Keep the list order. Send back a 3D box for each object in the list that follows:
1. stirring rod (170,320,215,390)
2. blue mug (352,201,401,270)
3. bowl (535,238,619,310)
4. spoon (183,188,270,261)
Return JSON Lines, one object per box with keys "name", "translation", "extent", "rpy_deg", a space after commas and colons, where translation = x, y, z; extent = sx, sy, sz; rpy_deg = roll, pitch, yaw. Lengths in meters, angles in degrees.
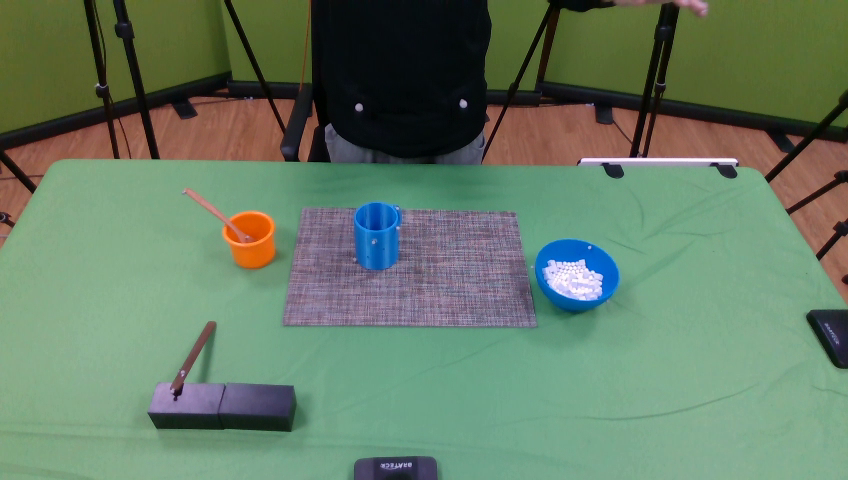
{"name": "stirring rod", "translation": [-0.368, 0.180, 0.969], "extent": [0.014, 0.006, 0.175], "rpy_deg": [0, 27, 0]}
{"name": "blue mug", "translation": [-0.082, -0.017, 1.144], "extent": [0.082, 0.106, 0.116], "rpy_deg": [30, 51, 22]}
{"name": "bowl", "translation": [0.270, 0.076, 1.107], "extent": [0.151, 0.077, 0.150], "rpy_deg": [2, 46, -2]}
{"name": "spoon", "translation": [-0.360, -0.029, 1.110], "extent": [0.021, 0.194, 0.041], "rpy_deg": [-21, 31, 41]}
